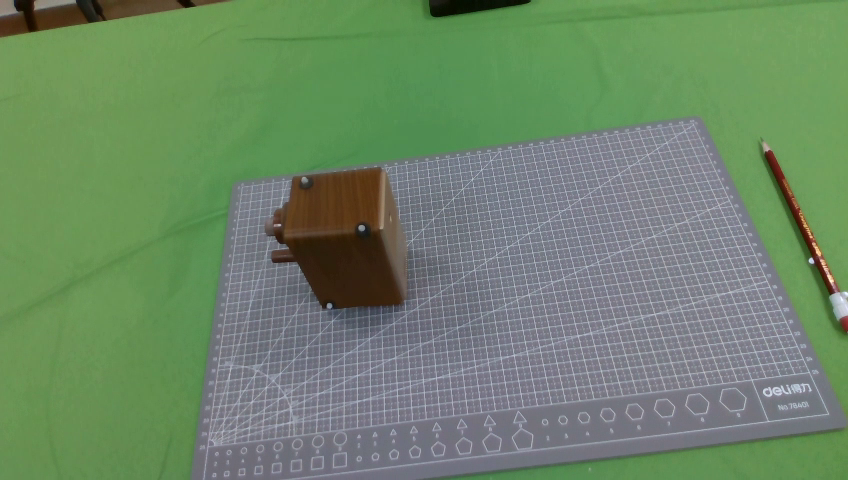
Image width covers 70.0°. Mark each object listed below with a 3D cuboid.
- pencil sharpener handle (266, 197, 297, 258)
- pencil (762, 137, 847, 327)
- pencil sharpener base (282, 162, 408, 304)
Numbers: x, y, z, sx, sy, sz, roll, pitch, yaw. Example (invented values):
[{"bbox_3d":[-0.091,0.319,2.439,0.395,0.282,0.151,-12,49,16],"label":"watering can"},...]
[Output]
[{"bbox_3d":[-0.110,-0.005,0.462,0.030,0.068,0.035,-5,59,6],"label":"pencil sharpener handle"},{"bbox_3d":[0.306,-0.015,0.488,0.012,0.012,0.192,-5,54,6],"label":"pencil"},{"bbox_3d":[-0.058,-0.001,0.467,0.076,0.108,0.061,-5,55,6],"label":"pencil sharpener base"}]
